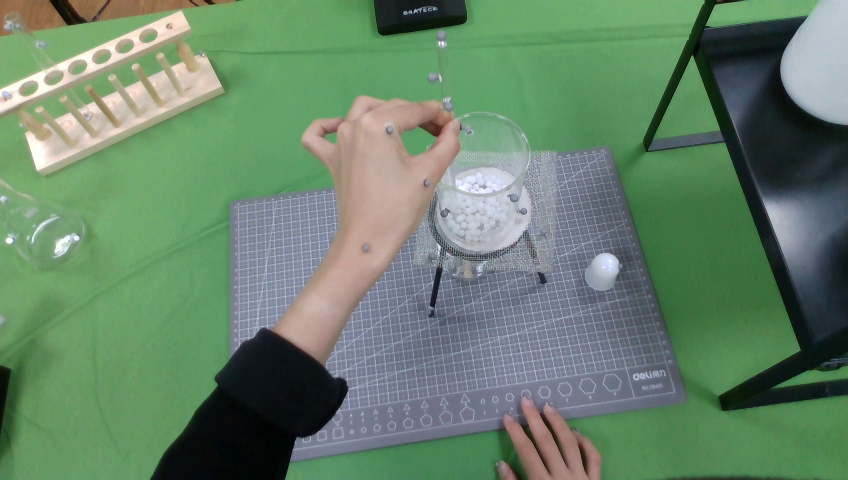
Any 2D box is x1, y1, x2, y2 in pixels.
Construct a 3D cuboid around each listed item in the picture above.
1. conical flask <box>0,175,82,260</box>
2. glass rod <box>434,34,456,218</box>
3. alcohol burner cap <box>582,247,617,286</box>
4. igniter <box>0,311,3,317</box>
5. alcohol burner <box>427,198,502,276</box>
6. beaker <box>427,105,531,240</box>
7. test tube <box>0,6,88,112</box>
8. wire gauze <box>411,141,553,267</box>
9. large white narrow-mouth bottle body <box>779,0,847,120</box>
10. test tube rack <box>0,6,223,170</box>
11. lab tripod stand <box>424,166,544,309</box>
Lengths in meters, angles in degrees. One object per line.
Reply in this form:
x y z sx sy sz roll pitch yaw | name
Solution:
-0.436 -0.033 0.651 0.075 0.123 0.075 -1 66 3 | conical flask
0.016 -0.071 0.449 0.008 0.201 0.008 -2 59 4 | glass rod
0.184 0.025 0.630 0.034 0.048 0.033 -1 66 3 | alcohol burner cap
-0.497 0.180 0.562 0.057 0.025 0.275 18 68 21 | igniter
0.041 -0.009 0.614 0.078 0.120 0.077 -1 65 2 | alcohol burner
0.042 -0.048 0.495 0.084 0.101 0.073 -30 68 -9 | beaker
-0.428 -0.200 0.690 0.017 0.151 0.017 -2 59 3 | test tube
0.055 -0.034 0.541 0.121 0.011 0.124 5 65 3 | wire gauze
0.345 -0.178 0.432 0.102 0.196 0.101 -2 66 5 | large white narrow-mouth bottle body
-0.382 -0.183 0.734 0.242 0.086 0.066 -28 67 -9 | test tube rack
0.053 -0.002 0.599 0.148 0.132 0.147 -1 65 2 | lab tripod stand
